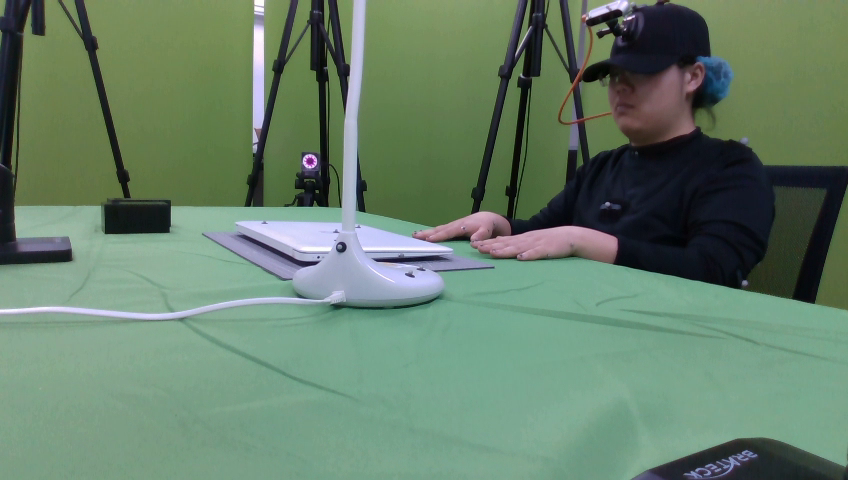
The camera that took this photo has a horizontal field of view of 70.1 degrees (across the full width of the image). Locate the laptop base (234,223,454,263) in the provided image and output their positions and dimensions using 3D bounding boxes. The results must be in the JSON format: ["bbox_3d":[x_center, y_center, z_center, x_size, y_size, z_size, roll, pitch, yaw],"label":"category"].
[{"bbox_3d":[-0.143,0.004,0.957,0.237,0.023,0.352,2,7,-32],"label":"laptop base"}]

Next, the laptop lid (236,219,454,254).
[{"bbox_3d":[-0.140,-0.009,0.957,0.243,0.013,0.355,1,7,-30],"label":"laptop lid"}]

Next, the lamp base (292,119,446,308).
[{"bbox_3d":[-0.056,-0.030,0.616,0.160,0.180,0.179,3,10,8],"label":"lamp base"}]
